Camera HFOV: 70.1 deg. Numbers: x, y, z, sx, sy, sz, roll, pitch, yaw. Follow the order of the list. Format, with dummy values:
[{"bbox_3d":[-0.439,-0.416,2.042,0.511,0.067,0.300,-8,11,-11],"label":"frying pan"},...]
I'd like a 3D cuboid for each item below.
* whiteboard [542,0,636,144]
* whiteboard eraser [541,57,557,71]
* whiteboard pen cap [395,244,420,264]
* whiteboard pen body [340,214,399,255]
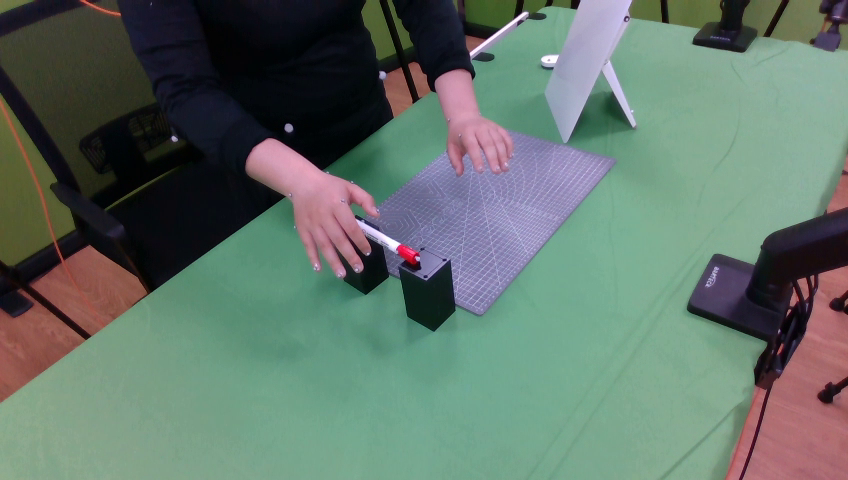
[{"bbox_3d":[0.366,-0.351,1.160,0.144,0.305,0.216,10,39,-10],"label":"whiteboard"},{"bbox_3d":[0.323,-0.412,1.407,0.101,0.019,0.041,1,42,11],"label":"whiteboard eraser"},{"bbox_3d":[-0.023,0.018,0.800,0.032,0.017,0.017,28,51,36],"label":"whiteboard pen cap"},{"bbox_3d":[-0.067,-0.004,0.835,0.139,0.017,0.017,29,52,33],"label":"whiteboard pen body"}]
